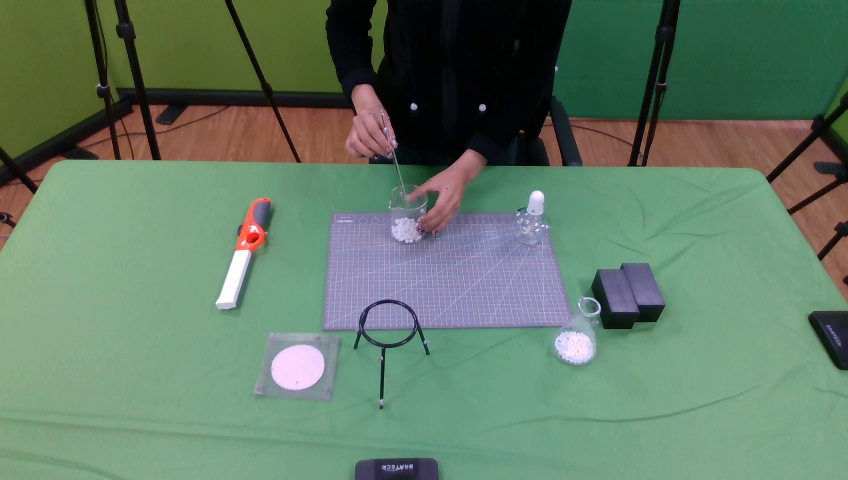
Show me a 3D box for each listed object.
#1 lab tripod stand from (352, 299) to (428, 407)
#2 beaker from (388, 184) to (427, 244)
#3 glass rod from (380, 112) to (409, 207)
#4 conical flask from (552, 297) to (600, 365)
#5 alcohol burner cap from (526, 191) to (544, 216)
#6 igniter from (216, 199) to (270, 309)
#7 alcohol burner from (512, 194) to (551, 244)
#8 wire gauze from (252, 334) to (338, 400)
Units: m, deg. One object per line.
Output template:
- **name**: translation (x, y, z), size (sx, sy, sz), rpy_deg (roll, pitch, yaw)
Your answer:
- **lab tripod stand**: translation (-0.056, 0.166, 0.958), size (0.148, 0.132, 0.147), rpy_deg (3, 44, -2)
- **beaker**: translation (-0.036, -0.047, 1.184), size (0.084, 0.101, 0.073), rpy_deg (-30, 54, -29)
- **glass rod**: translation (-0.053, -0.141, 1.104), size (0.008, 0.201, 0.008), rpy_deg (-10, 36, 7)
- **conical flask**: translation (0.261, 0.147, 1.009), size (0.075, 0.122, 0.075), rpy_deg (2, 46, -2)
- **alcohol burner cap**: translation (0.216, -0.073, 1.170), size (0.034, 0.048, 0.033), rpy_deg (-1, 42, 1)
- **igniter**: translation (-0.341, 0.016, 1.153), size (0.057, 0.025, 0.275), rpy_deg (-3, 45, 7)
- **alcohol burner**: translation (0.215, -0.048, 1.196), size (0.078, 0.119, 0.077), rpy_deg (4, 46, -4)
- **wire gauze**: translation (-0.209, 0.204, 0.996), size (0.125, 0.011, 0.120), rpy_deg (3, 45, 1)
